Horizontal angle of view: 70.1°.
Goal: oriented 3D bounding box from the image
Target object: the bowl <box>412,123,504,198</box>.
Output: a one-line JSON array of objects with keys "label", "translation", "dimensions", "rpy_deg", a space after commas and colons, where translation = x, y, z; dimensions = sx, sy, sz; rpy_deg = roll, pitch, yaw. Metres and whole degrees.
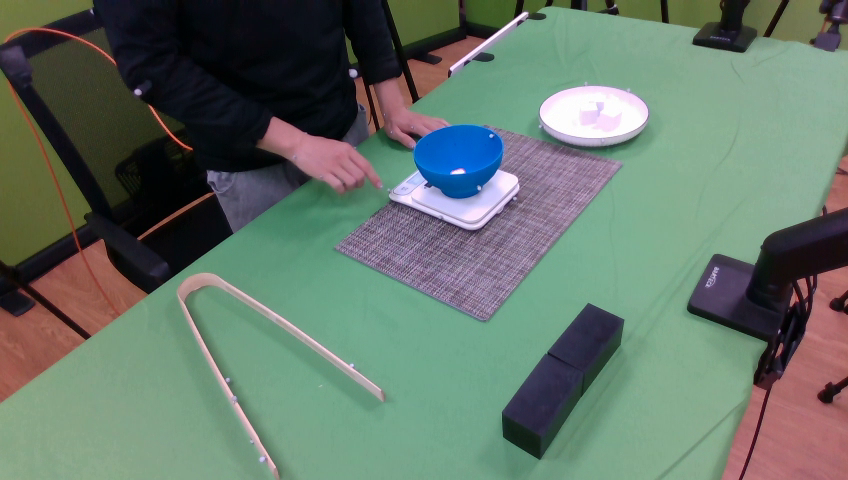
[{"label": "bowl", "translation": [0.060, -0.123, 1.007], "dimensions": [0.151, 0.077, 0.150], "rpy_deg": [-5, 41, 5]}]

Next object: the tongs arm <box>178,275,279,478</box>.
[{"label": "tongs arm", "translation": [-0.260, 0.161, 0.807], "dimensions": [0.051, 0.026, 0.381], "rpy_deg": [-29, 44, -24]}]

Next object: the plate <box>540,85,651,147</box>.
[{"label": "plate", "translation": [0.333, -0.238, 1.186], "dimensions": [0.207, 0.039, 0.206], "rpy_deg": [-4, 41, 4]}]

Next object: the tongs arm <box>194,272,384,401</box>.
[{"label": "tongs arm", "translation": [-0.199, 0.125, 0.846], "dimensions": [0.384, 0.028, 0.028], "rpy_deg": [25, 53, 32]}]

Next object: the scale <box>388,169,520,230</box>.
[{"label": "scale", "translation": [0.050, -0.090, 1.052], "dimensions": [0.199, 0.032, 0.149], "rpy_deg": [24, 49, 31]}]
